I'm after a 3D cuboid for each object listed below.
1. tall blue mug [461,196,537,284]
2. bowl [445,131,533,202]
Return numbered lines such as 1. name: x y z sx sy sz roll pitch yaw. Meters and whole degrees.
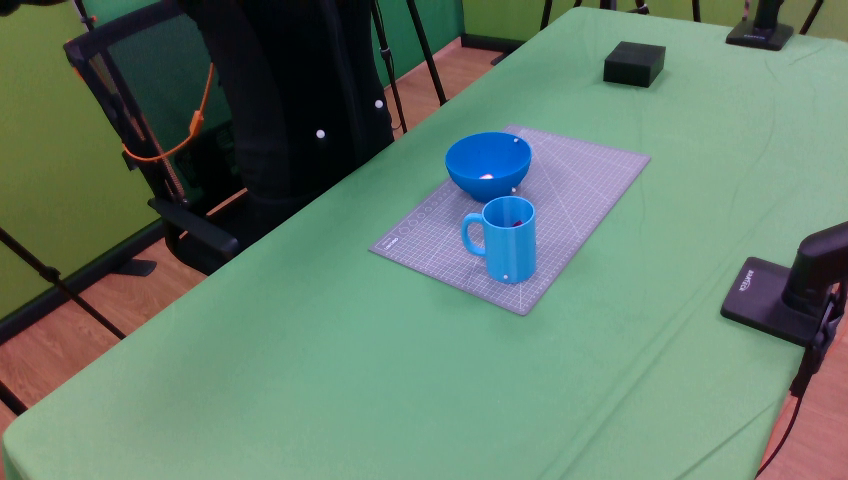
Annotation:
1. tall blue mug: 0.112 0.002 0.889 0.107 0.108 0.077 -10 41 0
2. bowl: 0.115 -0.119 1.056 0.151 0.077 0.150 -6 40 5
